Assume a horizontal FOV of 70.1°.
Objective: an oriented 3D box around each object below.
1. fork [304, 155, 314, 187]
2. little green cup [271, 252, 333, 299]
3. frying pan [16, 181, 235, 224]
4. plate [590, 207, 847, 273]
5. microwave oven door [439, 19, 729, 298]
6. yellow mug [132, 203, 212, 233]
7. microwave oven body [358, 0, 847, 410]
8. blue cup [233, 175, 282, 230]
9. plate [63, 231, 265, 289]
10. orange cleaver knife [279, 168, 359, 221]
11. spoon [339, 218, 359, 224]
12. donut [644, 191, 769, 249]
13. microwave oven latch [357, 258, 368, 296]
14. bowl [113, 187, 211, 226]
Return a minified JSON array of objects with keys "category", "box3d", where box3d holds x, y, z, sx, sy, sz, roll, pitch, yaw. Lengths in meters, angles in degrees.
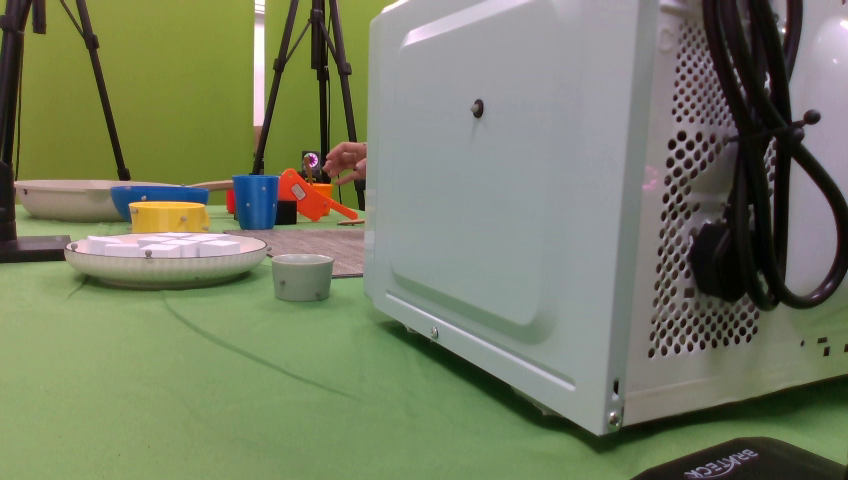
[{"category":"fork","box3d":[-0.268,-0.134,1.446,0.028,0.018,0.207,1,-36,-1]},{"category":"little green cup","box3d":[-0.122,0.035,0.605,0.061,0.038,0.061,3,7,0]},{"category":"frying pan","box3d":[-0.553,-0.097,1.265,0.490,0.102,0.305,-10,13,-24]},{"category":"plate","box3d":[0.246,-0.002,0.510,0.209,0.038,0.209,3,6,0]},{"category":"microwave oven door","box3d":[0.181,-0.076,0.618,0.358,0.243,0.039,-2,8,-28]},{"category":"yellow mug","box3d":[-0.356,-0.020,0.878,0.099,0.064,0.131,4,7,22]},{"category":"microwave oven body","box3d":[0.210,-0.051,0.471,0.444,0.260,0.324,-1,7,-28]},{"category":"blue cup","box3d":[-0.314,-0.071,1.141,0.093,0.100,0.092,0,7,0]},{"category":"plate","box3d":[-0.288,0.021,0.687,0.208,0.039,0.207,2,8,0]},{"category":"orange cleaver knife","box3d":[-0.236,-0.084,1.333,0.212,0.077,0.012,31,-9,-31]},{"category":"spoon","box3d":[-0.087,-0.041,1.268,0.193,0.021,0.041,3,19,14]},{"category":"donut","box3d":[0.240,-0.017,0.518,0.099,0.048,0.099,2,4,0]},{"category":"microwave oven latch","box3d":[-0.019,0.031,0.528,0.079,0.029,0.030,-1,7,-25]},{"category":"bowl","box3d":[-0.436,-0.046,1.013,0.151,0.077,0.151,2,7,0]}]
